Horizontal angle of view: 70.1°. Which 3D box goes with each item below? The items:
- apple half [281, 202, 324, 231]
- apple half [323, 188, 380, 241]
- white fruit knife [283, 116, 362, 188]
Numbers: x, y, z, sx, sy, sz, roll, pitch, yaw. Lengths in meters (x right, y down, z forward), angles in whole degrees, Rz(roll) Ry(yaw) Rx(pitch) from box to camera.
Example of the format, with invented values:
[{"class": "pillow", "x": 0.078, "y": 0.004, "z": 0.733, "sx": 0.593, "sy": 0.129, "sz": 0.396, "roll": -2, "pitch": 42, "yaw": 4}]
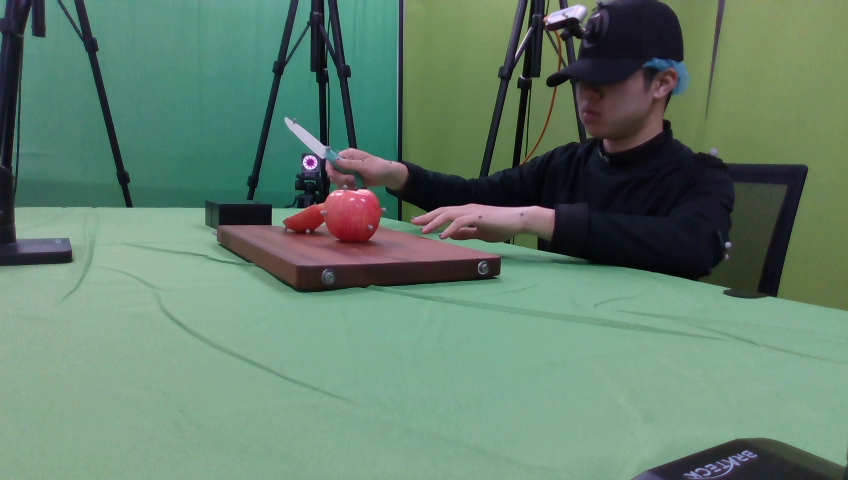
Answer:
[{"class": "apple half", "x": -0.175, "y": -0.033, "z": 0.927, "sx": 0.081, "sy": 0.033, "sz": 0.081, "roll": -21, "pitch": 0, "yaw": 1}, {"class": "apple half", "x": -0.094, "y": -0.034, "z": 0.840, "sx": 0.081, "sy": 0.074, "sz": 0.053, "roll": 1, "pitch": 10, "yaw": -38}, {"class": "white fruit knife", "x": -0.183, "y": -0.162, "z": 1.115, "sx": 0.016, "sy": 0.027, "sz": 0.208, "roll": 12, "pitch": -21, "yaw": 44}]
